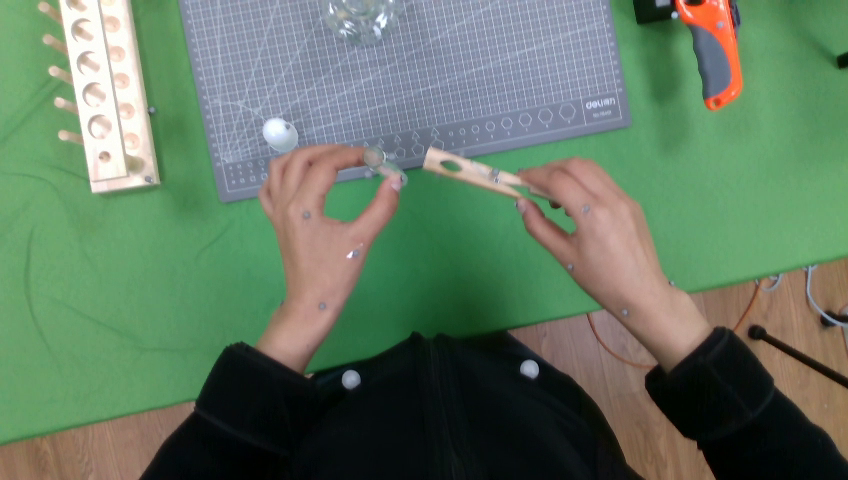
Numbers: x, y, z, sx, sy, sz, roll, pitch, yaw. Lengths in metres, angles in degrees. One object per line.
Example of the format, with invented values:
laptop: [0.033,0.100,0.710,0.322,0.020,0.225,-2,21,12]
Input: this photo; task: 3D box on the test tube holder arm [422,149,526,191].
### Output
test tube holder arm: [0.041,-0.056,0.489,0.088,0.015,0.010,16,96,-7]

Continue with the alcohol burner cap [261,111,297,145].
alcohol burner cap: [-0.150,-0.117,0.619,0.034,0.048,0.034,0,91,-4]

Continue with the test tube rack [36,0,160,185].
test tube rack: [-0.325,-0.180,0.587,0.067,0.085,0.242,-9,92,-3]

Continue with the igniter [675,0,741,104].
igniter: [0.276,-0.275,0.605,0.057,0.025,0.276,-11,92,9]

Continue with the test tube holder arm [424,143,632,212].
test tube holder arm: [0.086,-0.050,0.494,0.179,0.015,0.013,14,96,-7]

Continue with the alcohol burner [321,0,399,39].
alcohol burner: [-0.063,-0.240,0.586,0.078,0.119,0.078,0,93,-3]

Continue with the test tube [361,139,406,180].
test tube: [-0.029,-0.062,0.481,0.017,0.150,0.017,0,91,5]
